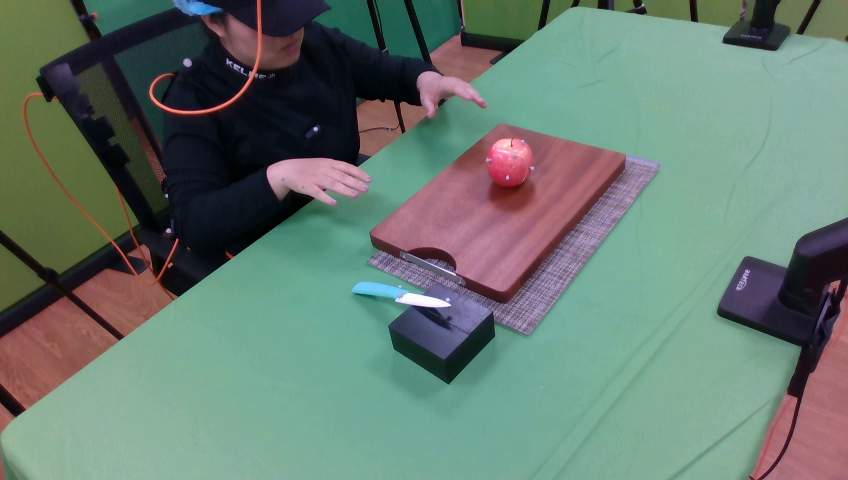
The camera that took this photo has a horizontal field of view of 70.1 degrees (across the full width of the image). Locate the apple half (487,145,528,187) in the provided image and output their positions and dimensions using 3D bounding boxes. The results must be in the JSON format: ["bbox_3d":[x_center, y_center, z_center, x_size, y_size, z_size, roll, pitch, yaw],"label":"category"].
[{"bbox_3d":[0.134,-0.117,1.014,0.080,0.081,0.033,18,44,29],"label":"apple half"}]

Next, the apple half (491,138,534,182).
[{"bbox_3d":[0.156,-0.139,1.038,0.080,0.075,0.053,16,42,32],"label":"apple half"}]

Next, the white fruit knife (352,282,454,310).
[{"bbox_3d":[-0.032,0.079,0.856,0.205,0.016,0.027,6,38,47],"label":"white fruit knife"}]
